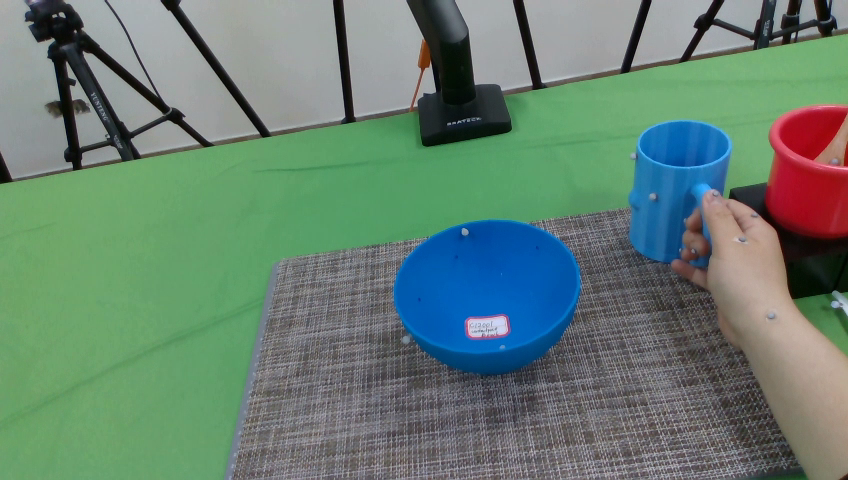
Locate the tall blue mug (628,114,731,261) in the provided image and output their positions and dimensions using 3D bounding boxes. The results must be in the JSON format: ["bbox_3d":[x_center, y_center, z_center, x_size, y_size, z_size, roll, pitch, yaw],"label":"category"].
[{"bbox_3d":[0.239,-0.041,0.544,0.078,0.109,0.106,-28,43,-17],"label":"tall blue mug"}]

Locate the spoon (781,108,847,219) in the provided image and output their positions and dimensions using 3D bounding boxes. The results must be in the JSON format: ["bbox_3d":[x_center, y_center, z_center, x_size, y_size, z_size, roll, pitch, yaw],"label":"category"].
[{"bbox_3d":[0.350,-0.105,0.492,0.041,0.022,0.194,30,100,40],"label":"spoon"}]

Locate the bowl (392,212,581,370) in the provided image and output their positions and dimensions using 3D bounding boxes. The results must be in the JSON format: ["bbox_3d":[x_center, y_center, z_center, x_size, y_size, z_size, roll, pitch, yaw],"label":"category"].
[{"bbox_3d":[0.054,0.055,0.507,0.151,0.077,0.150,-7,42,7],"label":"bowl"}]

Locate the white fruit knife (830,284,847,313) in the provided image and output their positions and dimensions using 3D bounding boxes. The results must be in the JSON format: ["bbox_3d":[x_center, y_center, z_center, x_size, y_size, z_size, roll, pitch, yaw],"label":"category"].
[{"bbox_3d":[0.350,0.104,0.434,0.027,0.016,0.205,13,37,-13],"label":"white fruit knife"}]
